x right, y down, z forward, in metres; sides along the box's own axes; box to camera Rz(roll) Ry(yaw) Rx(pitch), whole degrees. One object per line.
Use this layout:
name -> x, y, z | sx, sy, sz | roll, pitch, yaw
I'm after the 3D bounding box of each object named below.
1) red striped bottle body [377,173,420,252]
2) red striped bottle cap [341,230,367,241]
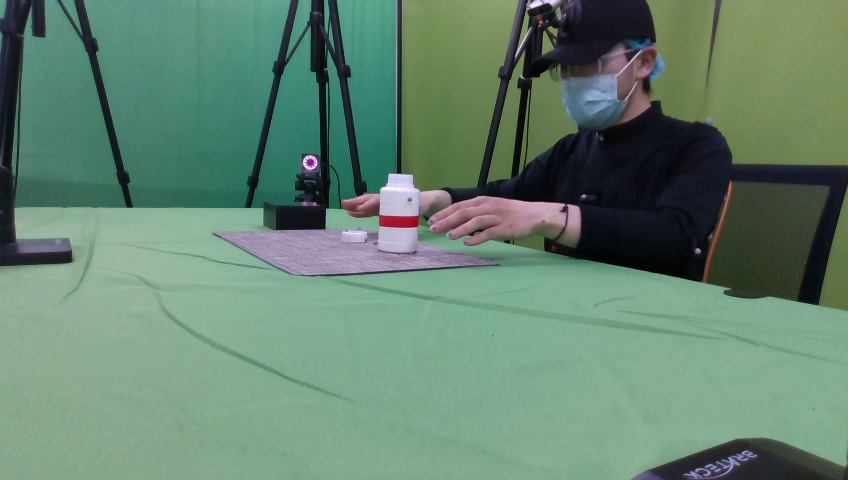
red striped bottle body -> -0.039, -0.044, 0.936 | 0.063, 0.119, 0.063 | 2, 7, 0
red striped bottle cap -> -0.120, -0.007, 1.034 | 0.044, 0.017, 0.044 | -2, 2, 0
